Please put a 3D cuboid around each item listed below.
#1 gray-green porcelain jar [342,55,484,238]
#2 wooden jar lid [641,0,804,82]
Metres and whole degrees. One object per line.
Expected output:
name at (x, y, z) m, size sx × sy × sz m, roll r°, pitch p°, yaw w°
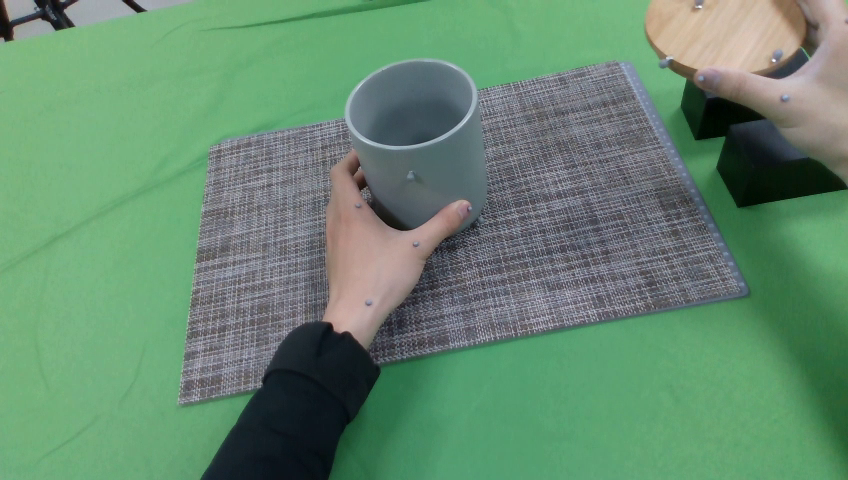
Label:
gray-green porcelain jar at (-0.003, -0.072, 0.515) m, size 0.106 × 0.128 × 0.105 m, roll -5°, pitch 53°, yaw 7°
wooden jar lid at (0.215, -0.155, 0.443) m, size 0.108 × 0.021 × 0.107 m, roll -4°, pitch 60°, yaw 7°
